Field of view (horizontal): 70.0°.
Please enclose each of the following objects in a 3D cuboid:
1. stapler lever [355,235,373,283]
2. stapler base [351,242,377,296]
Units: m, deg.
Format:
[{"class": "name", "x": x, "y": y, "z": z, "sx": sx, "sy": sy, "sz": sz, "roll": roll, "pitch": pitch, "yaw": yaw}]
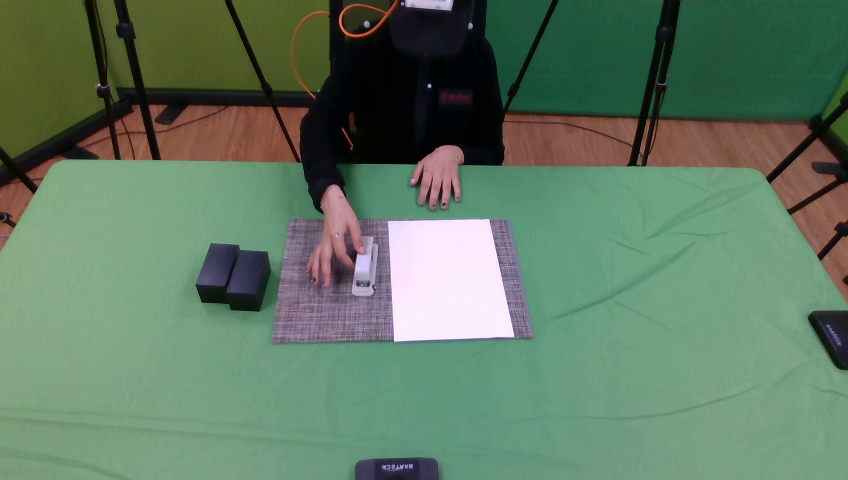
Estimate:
[{"class": "stapler lever", "x": -0.110, "y": 0.029, "z": 1.122, "sx": 0.027, "sy": 0.040, "sz": 0.117, "roll": 5, "pitch": 46, "yaw": -4}, {"class": "stapler base", "x": -0.111, "y": 0.047, "z": 1.138, "sx": 0.041, "sy": 0.024, "sz": 0.130, "roll": 5, "pitch": 45, "yaw": -4}]
